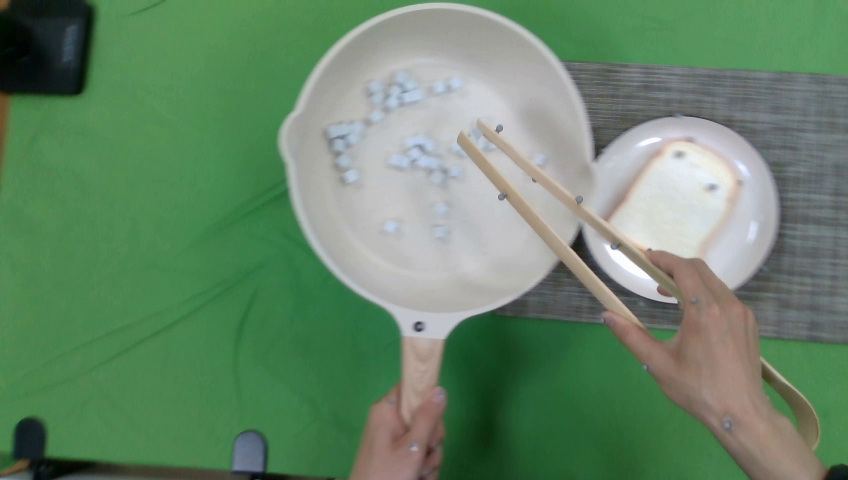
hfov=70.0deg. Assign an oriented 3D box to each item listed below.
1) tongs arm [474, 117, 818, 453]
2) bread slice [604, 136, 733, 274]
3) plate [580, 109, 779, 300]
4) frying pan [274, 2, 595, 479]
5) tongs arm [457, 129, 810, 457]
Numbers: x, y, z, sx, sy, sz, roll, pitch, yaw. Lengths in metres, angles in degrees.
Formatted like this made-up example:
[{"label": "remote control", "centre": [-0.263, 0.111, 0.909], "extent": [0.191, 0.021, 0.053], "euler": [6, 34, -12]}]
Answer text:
[{"label": "tongs arm", "centre": [0.176, 0.031, 0.521], "extent": [0.383, 0.026, 0.050], "euler": [40, 75, 8]}, {"label": "bread slice", "centre": [0.272, -0.046, 0.668], "extent": [0.107, 0.018, 0.134], "euler": [28, 90, 6]}, {"label": "plate", "centre": [0.274, -0.038, 0.665], "extent": [0.207, 0.039, 0.207], "euler": [0, 85, 5]}, {"label": "frying pan", "centre": [0.003, 0.028, 0.575], "extent": [0.308, 0.102, 0.486], "euler": [7, 81, -12]}, {"label": "tongs arm", "centre": [0.163, 0.042, 0.517], "extent": [0.028, 0.028, 0.386], "euler": [-40, 80, -17]}]
